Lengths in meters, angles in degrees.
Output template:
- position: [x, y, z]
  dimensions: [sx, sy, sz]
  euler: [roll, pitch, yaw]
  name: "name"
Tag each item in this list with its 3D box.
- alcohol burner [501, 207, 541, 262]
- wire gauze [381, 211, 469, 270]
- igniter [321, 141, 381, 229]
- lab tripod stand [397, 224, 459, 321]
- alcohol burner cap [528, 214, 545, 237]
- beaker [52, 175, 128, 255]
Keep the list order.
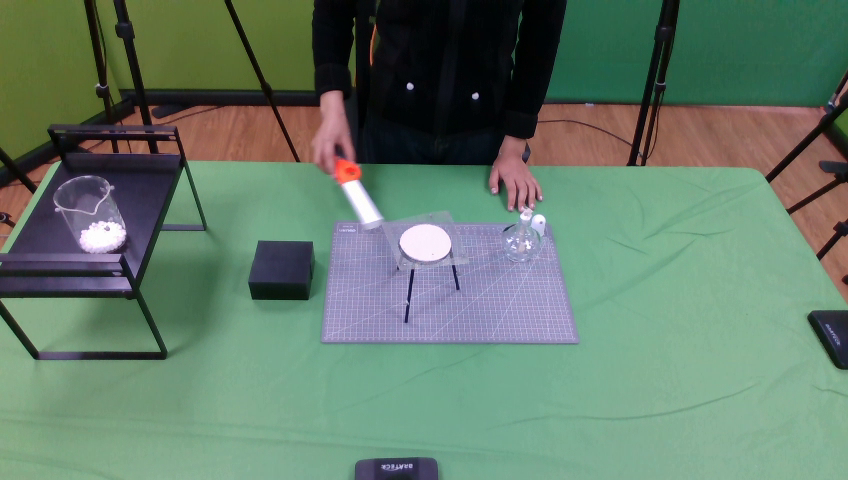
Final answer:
- position: [0.188, -0.015, 1.161]
  dimensions: [0.078, 0.120, 0.077]
  euler: [1, 44, -1]
  name: "alcohol burner"
- position: [0.000, 0.001, 1.023]
  dimensions: [0.125, 0.011, 0.120]
  euler: [-9, 48, -13]
  name: "wire gauze"
- position: [-0.150, -0.117, 1.196]
  dimensions: [0.057, 0.025, 0.274]
  euler: [-17, 47, -18]
  name: "igniter"
- position: [-0.003, 0.052, 1.067]
  dimensions: [0.148, 0.132, 0.147]
  euler: [3, 48, -3]
  name: "lab tripod stand"
- position: [0.231, -0.032, 1.230]
  dimensions: [0.034, 0.048, 0.033]
  euler: [2, 46, -1]
  name: "alcohol burner cap"
- position: [-0.482, -0.032, 0.888]
  dimensions: [0.074, 0.101, 0.083]
  euler: [-28, 55, -27]
  name: "beaker"
